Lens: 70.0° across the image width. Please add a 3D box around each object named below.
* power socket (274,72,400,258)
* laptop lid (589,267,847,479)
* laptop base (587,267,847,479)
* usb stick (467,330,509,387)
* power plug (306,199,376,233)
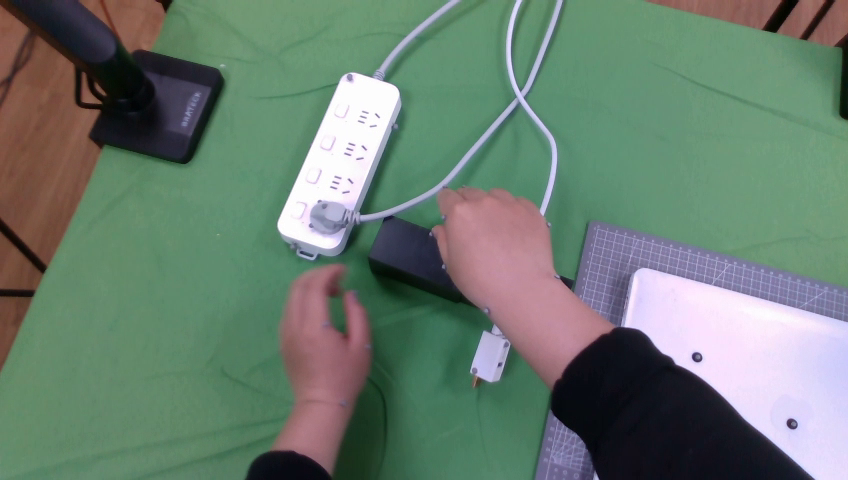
[{"bbox_3d":[-0.092,-0.087,0.665,0.072,0.033,0.225,20,72,4],"label":"power socket"},{"bbox_3d":[0.353,0.180,0.590,0.356,0.013,0.240,17,75,4],"label":"laptop lid"},{"bbox_3d":[0.354,0.181,0.602,0.354,0.023,0.234,16,76,3],"label":"laptop base"},{"bbox_3d":[0.060,0.119,0.590,0.027,0.021,0.059,25,99,31],"label":"usb stick"},{"bbox_3d":[-0.088,-0.016,0.623,0.072,0.053,0.035,31,73,6],"label":"power plug"}]
